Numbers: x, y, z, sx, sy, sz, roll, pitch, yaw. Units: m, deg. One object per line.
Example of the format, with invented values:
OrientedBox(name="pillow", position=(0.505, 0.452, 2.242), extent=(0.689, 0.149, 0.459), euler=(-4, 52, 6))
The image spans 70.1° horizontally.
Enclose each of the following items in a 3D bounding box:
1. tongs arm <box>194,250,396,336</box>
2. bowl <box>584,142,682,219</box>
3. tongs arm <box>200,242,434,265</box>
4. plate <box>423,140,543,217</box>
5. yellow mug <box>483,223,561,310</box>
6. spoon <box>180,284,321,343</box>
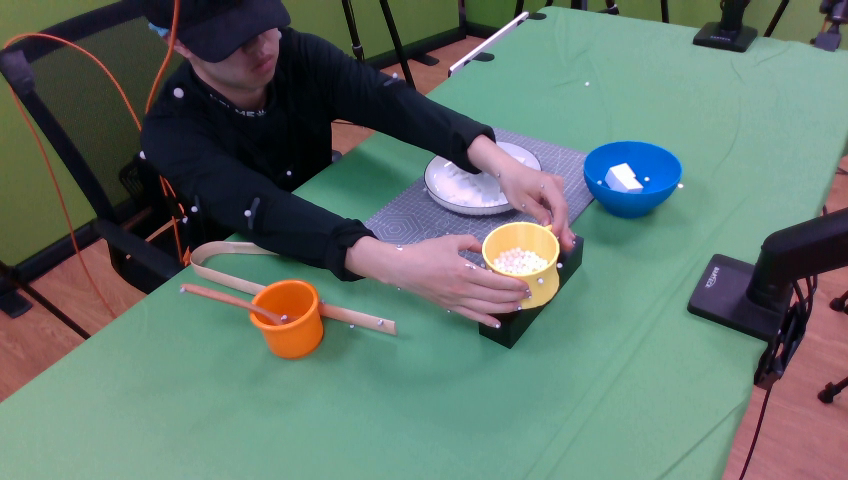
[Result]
OrientedBox(name="tongs arm", position=(-0.203, 0.074, 0.904), extent=(0.382, 0.026, 0.051), euler=(11, 44, 23))
OrientedBox(name="bowl", position=(0.333, -0.087, 0.980), extent=(0.151, 0.077, 0.150), euler=(-4, 40, 3))
OrientedBox(name="tongs arm", position=(-0.174, 0.023, 0.961), extent=(0.386, 0.028, 0.028), euler=(2, 45, 13))
OrientedBox(name="plate", position=(0.103, -0.104, 1.059), extent=(0.207, 0.039, 0.206), euler=(-3, 41, 3))
OrientedBox(name="yellow mug", position=(0.140, 0.024, 0.800), extent=(0.131, 0.064, 0.099), euler=(-37, 49, -28))
OrientedBox(name="spoon", position=(-0.223, 0.094, 0.794), extent=(0.021, 0.195, 0.041), euler=(-45, 32, 26))
